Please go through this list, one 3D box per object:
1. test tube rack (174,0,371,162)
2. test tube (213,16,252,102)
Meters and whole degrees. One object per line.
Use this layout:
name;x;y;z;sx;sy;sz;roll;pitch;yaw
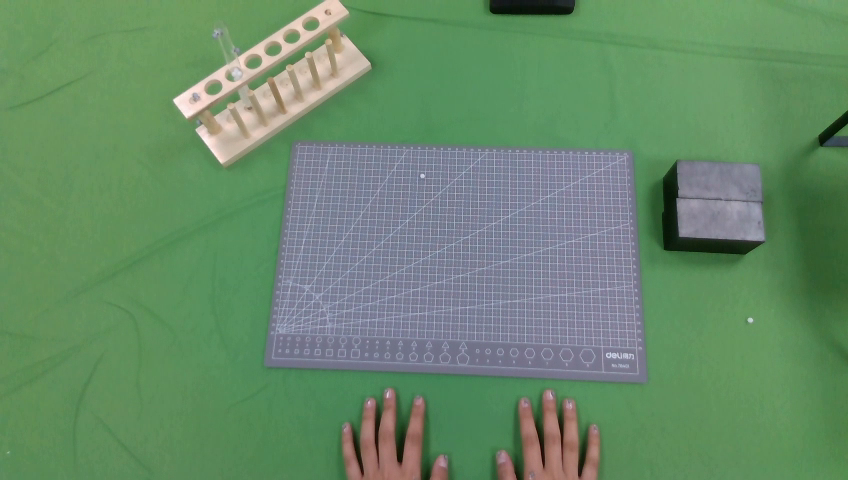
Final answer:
test tube rack;-0.189;-0.211;0.788;0.242;0.086;0.066;-37;74;-10
test tube;-0.230;-0.216;0.739;0.017;0.151;0.017;1;68;-3
